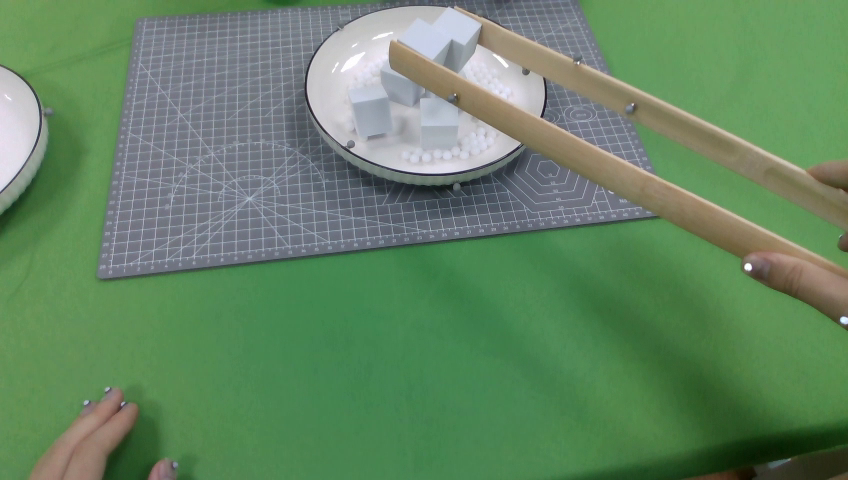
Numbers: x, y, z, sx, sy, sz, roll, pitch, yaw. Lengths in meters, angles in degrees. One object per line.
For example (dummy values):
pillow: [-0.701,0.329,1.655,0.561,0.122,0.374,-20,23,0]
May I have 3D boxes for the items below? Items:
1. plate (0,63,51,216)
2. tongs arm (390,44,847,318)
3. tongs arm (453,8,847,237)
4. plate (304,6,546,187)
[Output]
plate: [-0.403,-0.063,0.479,0.208,0.039,0.205,1,57,-2]
tongs arm: [0.122,-0.045,0.381,0.384,0.028,0.028,33,53,25]
tongs arm: [0.151,-0.068,0.400,0.381,0.027,0.050,34,57,26]
plate: [0.001,-0.126,0.534,0.209,0.038,0.207,1,57,-1]
